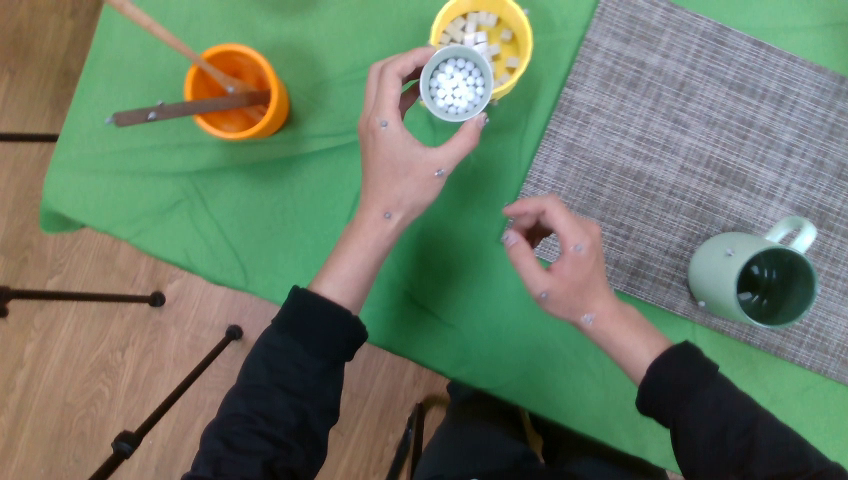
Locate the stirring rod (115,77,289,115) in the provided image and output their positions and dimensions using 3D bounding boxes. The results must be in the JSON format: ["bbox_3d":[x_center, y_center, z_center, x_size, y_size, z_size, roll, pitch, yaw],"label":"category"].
[{"bbox_3d":[-0.209,-0.142,0.591,0.176,0.006,0.014,-22,98,-39],"label":"stirring rod"}]

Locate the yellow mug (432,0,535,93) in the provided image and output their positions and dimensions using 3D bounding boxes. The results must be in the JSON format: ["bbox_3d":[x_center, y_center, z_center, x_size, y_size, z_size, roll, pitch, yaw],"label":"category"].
[{"bbox_3d":[0.047,-0.194,0.618,0.131,0.064,0.100,-42,95,6],"label":"yellow mug"}]

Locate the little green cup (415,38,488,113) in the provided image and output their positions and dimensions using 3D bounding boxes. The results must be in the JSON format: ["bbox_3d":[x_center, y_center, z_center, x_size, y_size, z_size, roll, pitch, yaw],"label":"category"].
[{"bbox_3d":[0.024,-0.138,0.516,0.061,0.038,0.062,1,101,4],"label":"little green cup"}]

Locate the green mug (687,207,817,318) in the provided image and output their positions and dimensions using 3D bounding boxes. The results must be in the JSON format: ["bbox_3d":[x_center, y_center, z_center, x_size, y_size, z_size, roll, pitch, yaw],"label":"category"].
[{"bbox_3d":[0.338,0.017,0.612,0.092,0.105,0.125,39,95,-2],"label":"green mug"}]

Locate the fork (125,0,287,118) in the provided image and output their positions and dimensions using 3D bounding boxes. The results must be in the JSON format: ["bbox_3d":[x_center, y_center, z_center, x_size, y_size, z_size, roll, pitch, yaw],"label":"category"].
[{"bbox_3d":[-0.215,-0.184,0.581,0.028,0.018,0.209,-52,136,3],"label":"fork"}]
